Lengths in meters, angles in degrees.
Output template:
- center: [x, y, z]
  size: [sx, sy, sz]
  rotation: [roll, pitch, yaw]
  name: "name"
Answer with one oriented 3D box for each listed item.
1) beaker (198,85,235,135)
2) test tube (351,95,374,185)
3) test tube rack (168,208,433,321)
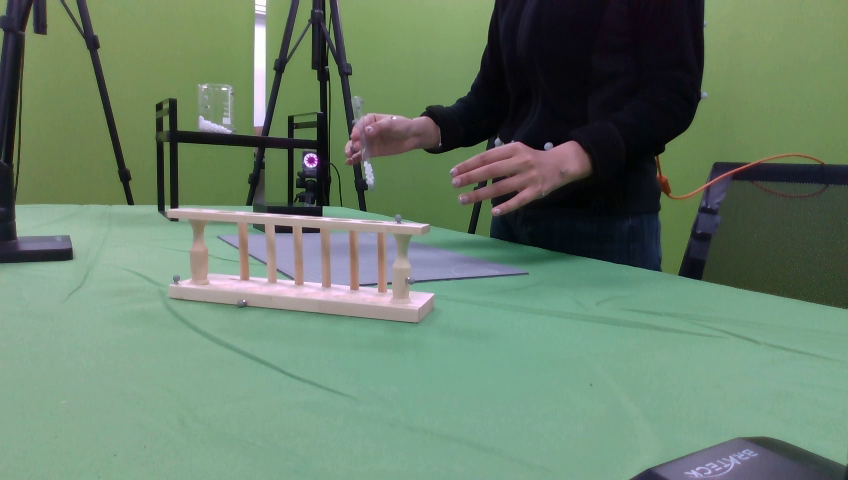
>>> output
- center: [-0.439, -0.273, 1.275]
  size: [0.074, 0.100, 0.084]
  rotation: [5, 8, 19]
  name: "beaker"
- center: [-0.100, -0.163, 0.984]
  size: [0.017, 0.150, 0.017]
  rotation: [-9, -6, -1]
  name: "test tube"
- center: [-0.116, 0.017, 0.574]
  size: [0.242, 0.085, 0.067]
  rotation: [4, 8, 13]
  name: "test tube rack"
